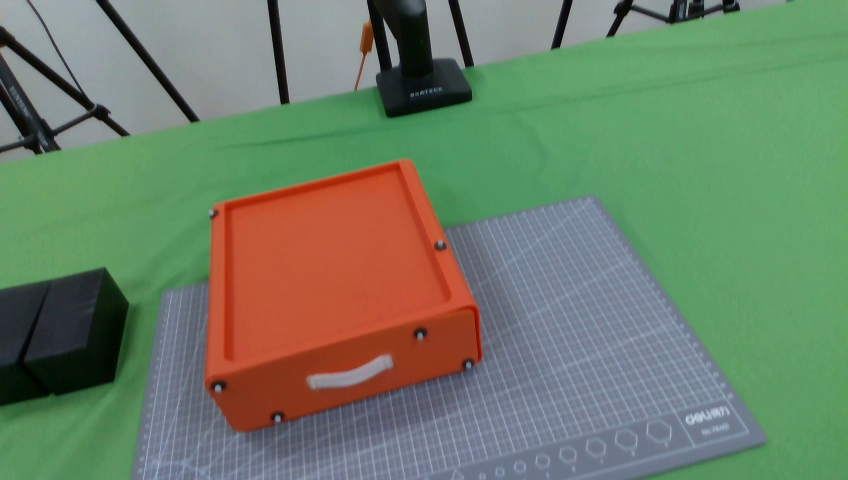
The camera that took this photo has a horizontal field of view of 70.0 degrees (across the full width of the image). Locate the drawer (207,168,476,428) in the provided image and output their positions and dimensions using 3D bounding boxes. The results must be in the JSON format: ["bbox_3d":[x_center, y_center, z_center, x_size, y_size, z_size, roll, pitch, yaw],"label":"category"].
[{"bbox_3d":[-0.078,0.036,0.524,0.195,0.074,0.209,-15,42,-5],"label":"drawer"}]

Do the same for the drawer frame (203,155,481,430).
[{"bbox_3d":[-0.078,0.033,0.526,0.202,0.083,0.211,-15,41,-6],"label":"drawer frame"}]

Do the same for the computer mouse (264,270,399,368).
[{"bbox_3d":[-0.080,0.064,0.512,0.117,0.041,0.062,-18,45,0],"label":"computer mouse"}]
